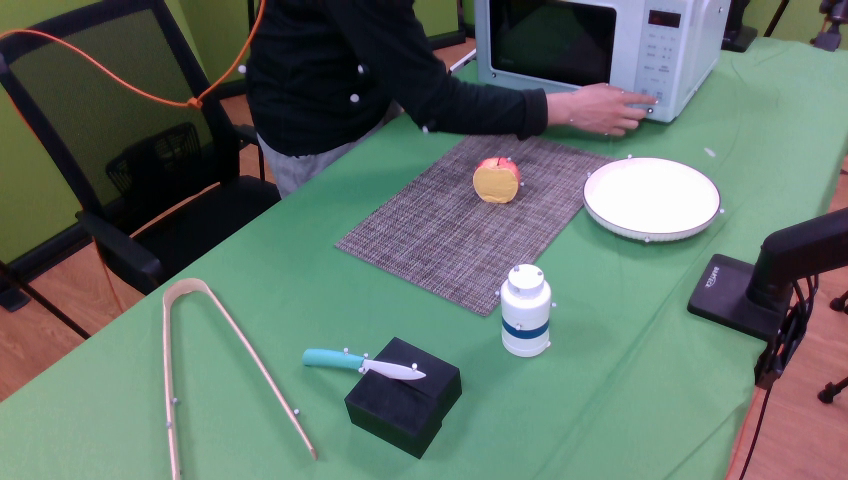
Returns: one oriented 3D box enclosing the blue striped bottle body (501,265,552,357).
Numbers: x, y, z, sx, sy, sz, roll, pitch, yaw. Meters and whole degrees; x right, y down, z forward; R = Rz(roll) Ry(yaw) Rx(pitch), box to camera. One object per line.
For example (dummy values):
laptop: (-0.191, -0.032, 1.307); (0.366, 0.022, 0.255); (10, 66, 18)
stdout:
blue striped bottle body: (0.129, 0.089, 0.769); (0.063, 0.121, 0.063); (-4, 40, 4)

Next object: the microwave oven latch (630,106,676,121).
microwave oven latch: (0.437, -0.246, 1.155); (0.079, 0.029, 0.030); (10, 44, 20)

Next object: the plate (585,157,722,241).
plate: (0.367, -0.063, 0.979); (0.207, 0.039, 0.206); (-4, 41, 4)

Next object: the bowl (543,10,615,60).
bowl: (0.335, -0.439, 1.306); (0.151, 0.077, 0.151); (-8, 30, 5)

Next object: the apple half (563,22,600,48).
apple half: (0.333, -0.446, 1.299); (0.081, 0.033, 0.081); (-15, 38, 13)

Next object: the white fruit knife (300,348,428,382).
white fruit knife: (-0.079, 0.154, 0.748); (0.206, 0.027, 0.016); (1, 20, 35)

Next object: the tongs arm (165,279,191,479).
tongs arm: (-0.313, 0.182, 0.789); (0.051, 0.026, 0.381); (-20, 40, -13)

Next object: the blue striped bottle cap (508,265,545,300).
blue striped bottle cap: (0.125, 0.051, 0.734); (0.044, 0.021, 0.044); (-5, 36, 4)

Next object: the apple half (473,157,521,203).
apple half: (0.127, -0.106, 1.030); (0.080, 0.075, 0.053); (4, 36, 19)

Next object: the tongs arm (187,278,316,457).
tongs arm: (-0.241, 0.153, 0.815); (0.028, 0.028, 0.384); (-32, 45, -21)

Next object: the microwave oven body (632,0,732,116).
microwave oven body: (0.377, -0.463, 1.267); (0.438, 0.261, 0.327); (21, 49, 30)

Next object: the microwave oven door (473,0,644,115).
microwave oven door: (0.257, -0.396, 1.199); (0.353, 0.245, 0.039); (21, 48, 29)
